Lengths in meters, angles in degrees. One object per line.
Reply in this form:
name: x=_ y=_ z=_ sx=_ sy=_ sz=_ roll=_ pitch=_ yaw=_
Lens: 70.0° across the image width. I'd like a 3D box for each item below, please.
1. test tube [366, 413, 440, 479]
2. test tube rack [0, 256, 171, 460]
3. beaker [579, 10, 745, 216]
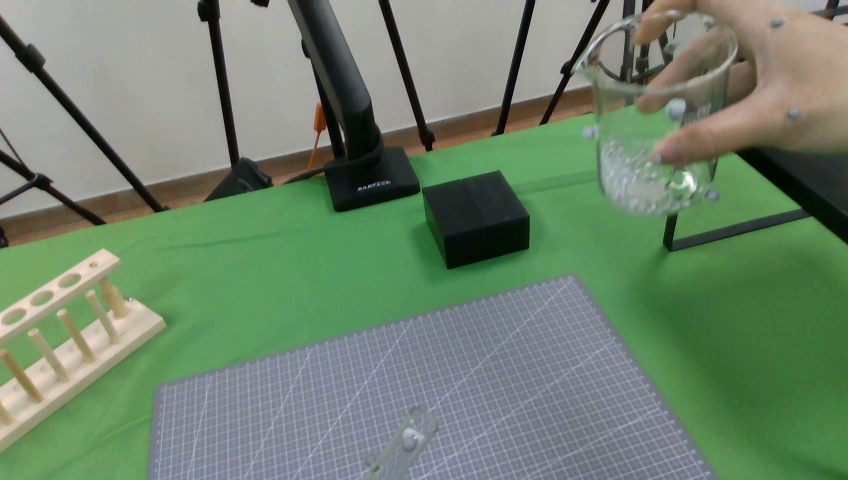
test tube: x=-0.035 y=0.140 z=0.303 sx=0.017 sy=0.151 sz=0.017 roll=26 pitch=25 yaw=-13
test tube rack: x=-0.383 y=0.125 z=0.591 sx=0.066 sy=0.086 sz=0.242 roll=22 pitch=47 yaw=32
beaker: x=0.137 y=-0.070 z=0.358 sx=0.083 sy=0.101 sz=0.073 roll=-1 pitch=47 yaw=18
